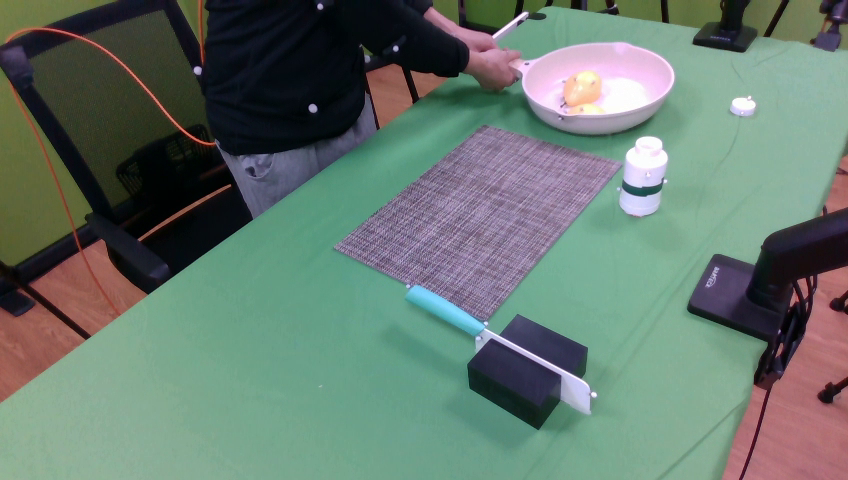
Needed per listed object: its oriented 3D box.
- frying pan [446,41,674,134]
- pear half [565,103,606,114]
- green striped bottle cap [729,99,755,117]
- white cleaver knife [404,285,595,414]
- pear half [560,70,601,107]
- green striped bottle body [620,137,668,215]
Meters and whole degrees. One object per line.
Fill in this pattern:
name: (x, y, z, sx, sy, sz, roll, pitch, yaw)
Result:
frying pan: (0.259, -0.346, 1.261, 0.485, 0.103, 0.307, 25, 52, 22)
pear half: (0.319, -0.253, 1.200, 0.087, 0.031, 0.070, 9, 40, 15)
green striped bottle cap: (0.623, -0.259, 1.182, 0.044, 0.020, 0.044, -3, 40, 3)
white cleaver knife: (0.084, 0.135, 0.764, 0.284, 0.066, 0.021, 28, 47, 31)
pear half: (0.317, -0.314, 1.251, 0.075, 0.056, 0.110, 26, 56, 40)
green striped bottle body: (0.350, -0.103, 0.963, 0.063, 0.120, 0.063, -4, 41, 4)
